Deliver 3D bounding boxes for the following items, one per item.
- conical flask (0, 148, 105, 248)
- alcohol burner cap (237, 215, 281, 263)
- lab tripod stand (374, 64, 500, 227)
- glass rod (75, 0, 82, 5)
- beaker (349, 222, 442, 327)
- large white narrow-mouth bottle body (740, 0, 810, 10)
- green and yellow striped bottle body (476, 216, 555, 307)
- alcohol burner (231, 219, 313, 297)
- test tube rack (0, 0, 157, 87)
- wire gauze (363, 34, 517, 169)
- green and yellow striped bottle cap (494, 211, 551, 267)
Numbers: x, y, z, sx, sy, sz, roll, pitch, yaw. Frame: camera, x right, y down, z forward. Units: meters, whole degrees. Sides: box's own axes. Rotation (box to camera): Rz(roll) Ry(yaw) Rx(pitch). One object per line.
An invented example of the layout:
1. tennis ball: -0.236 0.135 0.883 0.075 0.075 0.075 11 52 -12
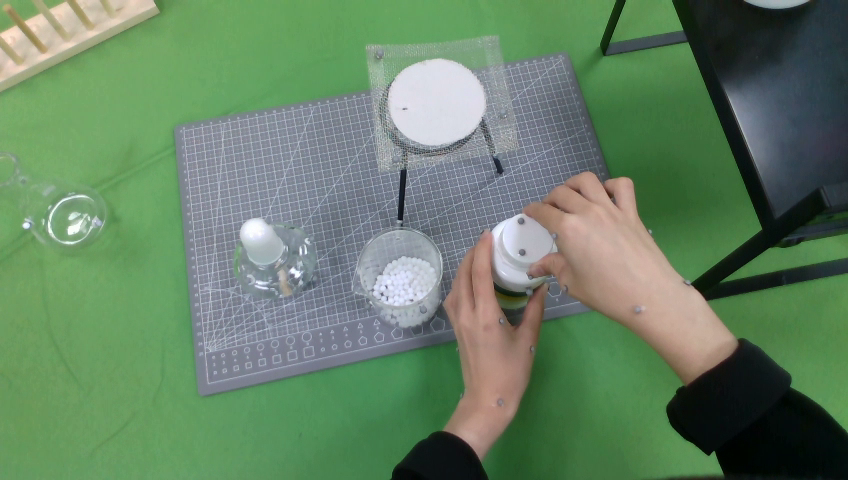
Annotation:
1. conical flask: -0.373 -0.044 0.583 0.075 0.122 0.075 0 70 1
2. alcohol burner cap: -0.147 -0.003 0.530 0.034 0.048 0.033 1 64 -1
3. lab tripod stand: 0.007 -0.096 0.588 0.148 0.132 0.147 0 69 0
4. glass rod: -0.400 -0.317 0.626 0.008 0.201 0.008 1 68 -3
5. beaker: -0.024 0.038 0.560 0.084 0.101 0.073 -24 71 -6
6. large white narrow-mouth bottle body: 0.288 -0.265 0.425 0.102 0.196 0.101 0 69 1
7. green and yellow striped bottle body: 0.082 0.018 0.555 0.063 0.120 0.063 0 71 1
8. alcohol burner: -0.145 0.011 0.564 0.078 0.120 0.077 0 69 -1
9. test tube rack: -0.439 -0.253 0.675 0.242 0.086 0.066 -31 73 -10
10. wire gauze: 0.012 -0.124 0.526 0.121 0.011 0.124 -6 71 -3
11. green and yellow striped bottle cap: 0.082 -0.001 0.501 0.045 0.020 0.045 2 74 -7
